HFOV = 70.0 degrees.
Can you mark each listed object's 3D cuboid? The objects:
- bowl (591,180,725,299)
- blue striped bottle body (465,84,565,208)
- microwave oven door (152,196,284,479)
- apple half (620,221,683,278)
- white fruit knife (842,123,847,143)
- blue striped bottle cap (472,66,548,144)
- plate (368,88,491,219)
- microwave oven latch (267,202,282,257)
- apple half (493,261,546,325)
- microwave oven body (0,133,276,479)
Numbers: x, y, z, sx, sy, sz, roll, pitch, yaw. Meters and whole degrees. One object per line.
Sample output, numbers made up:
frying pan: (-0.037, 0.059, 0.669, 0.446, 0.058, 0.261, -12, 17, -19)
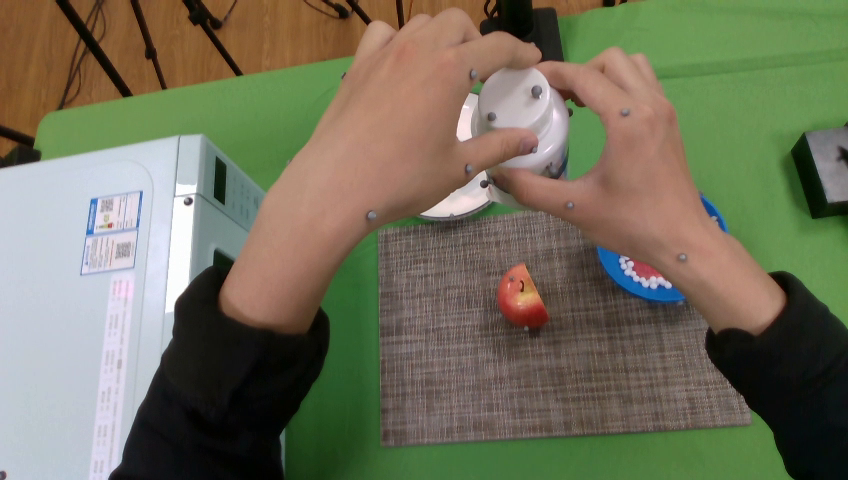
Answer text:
bowl: (0.285, 0.009, 0.758, 0.151, 0.077, 0.150, -4, 70, 12)
blue striped bottle body: (0.065, -0.068, 0.416, 0.063, 0.121, 0.063, -3, 76, 13)
microwave oven door: (-0.229, 0.155, 0.712, 0.039, 0.246, 0.353, -9, 69, 10)
apple half: (0.285, 0.008, 0.754, 0.081, 0.033, 0.080, -4, 68, 11)
white fruit knife: (0.533, -0.042, 0.723, 0.016, 0.027, 0.207, -18, 84, 24)
blue striped bottle cap: (0.051, -0.081, 0.363, 0.044, 0.021, 0.044, -5, 72, 14)
plate: (0.023, -0.124, 0.889, 0.207, 0.039, 0.206, -4, 70, 10)
microwave oven latch: (-0.223, -0.013, 0.881, 0.030, 0.030, 0.078, -8, 70, 9)
apple half: (0.116, 0.074, 0.775, 0.053, 0.075, 0.080, -26, 71, 6)
microwave oven body: (-0.375, 0.139, 0.754, 0.325, 0.262, 0.438, -8, 70, 9)
